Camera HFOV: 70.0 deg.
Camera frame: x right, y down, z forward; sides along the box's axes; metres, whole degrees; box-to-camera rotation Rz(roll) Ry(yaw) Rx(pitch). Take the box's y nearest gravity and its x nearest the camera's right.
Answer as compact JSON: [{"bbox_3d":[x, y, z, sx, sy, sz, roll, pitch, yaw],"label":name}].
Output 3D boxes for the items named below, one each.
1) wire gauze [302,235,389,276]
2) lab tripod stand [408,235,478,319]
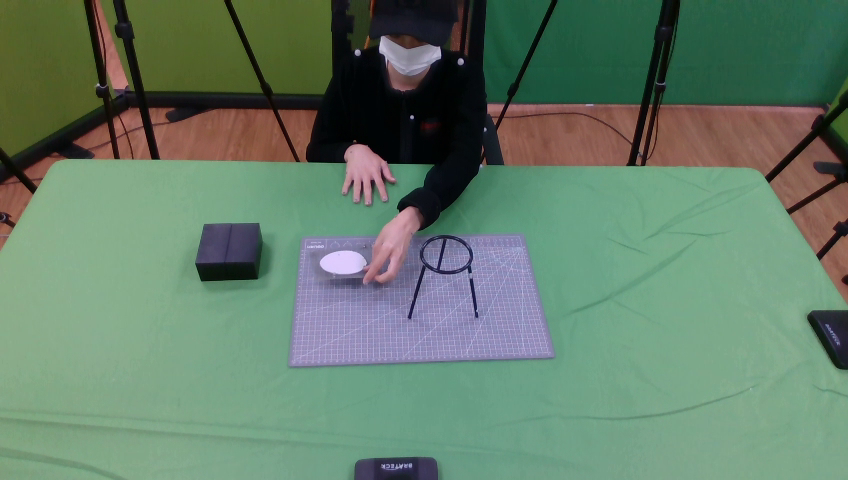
[{"bbox_3d":[-0.148,0.024,1.133,0.121,0.011,0.124,-20,29,-29],"label":"wire gauze"},{"bbox_3d":[0.032,0.065,1.057,0.148,0.132,0.147,1,45,-1],"label":"lab tripod stand"}]
